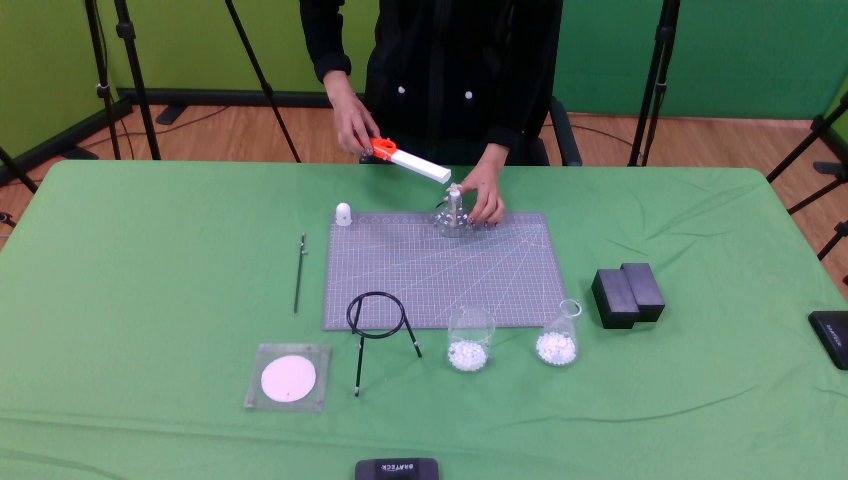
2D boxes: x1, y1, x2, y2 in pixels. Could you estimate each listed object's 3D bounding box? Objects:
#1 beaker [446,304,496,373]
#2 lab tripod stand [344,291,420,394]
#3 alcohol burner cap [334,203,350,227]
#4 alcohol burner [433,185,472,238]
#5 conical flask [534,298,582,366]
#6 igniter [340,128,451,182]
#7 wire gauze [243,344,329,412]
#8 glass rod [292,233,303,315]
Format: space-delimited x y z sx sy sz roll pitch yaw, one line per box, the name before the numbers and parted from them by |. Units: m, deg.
beaker | 0.072 0.166 0.992 0.084 0.101 0.073 -21 51 -22
lab tripod stand | -0.075 0.155 0.967 0.148 0.132 0.147 3 44 -3
alcohol burner cap | -0.166 -0.053 1.220 0.034 0.048 0.033 2 46 -2
alcohol burner | 0.057 -0.062 1.197 0.078 0.120 0.077 1 48 -1
conical flask | 0.229 0.149 1.005 0.075 0.122 0.075 2 46 -2
igniter | -0.066 -0.174 1.216 0.275 0.025 0.057 25 52 28
wire gauze | -0.221 0.219 0.981 0.125 0.011 0.120 2 45 0
glass rod | -0.236 0.060 1.134 0.008 0.008 0.198 -1 46 -5
